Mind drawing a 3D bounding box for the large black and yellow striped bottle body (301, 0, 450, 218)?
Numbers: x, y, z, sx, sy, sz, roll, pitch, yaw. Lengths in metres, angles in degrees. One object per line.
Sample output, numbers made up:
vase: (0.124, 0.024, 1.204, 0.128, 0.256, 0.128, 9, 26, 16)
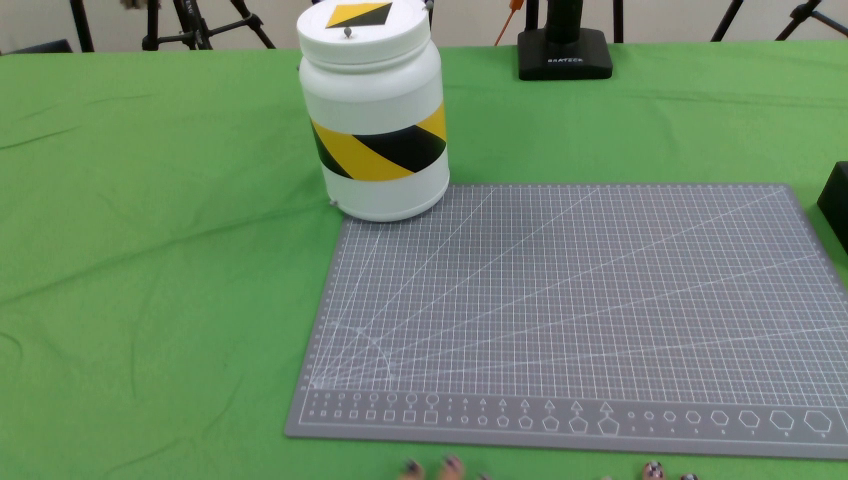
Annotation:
large black and yellow striped bottle body: (-0.044, -0.129, 0.586, 0.131, 0.186, 0.129, -3, 42, 3)

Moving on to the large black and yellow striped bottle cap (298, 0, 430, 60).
large black and yellow striped bottle cap: (-0.052, -0.190, 0.528, 0.115, 0.019, 0.114, -3, 41, 3)
